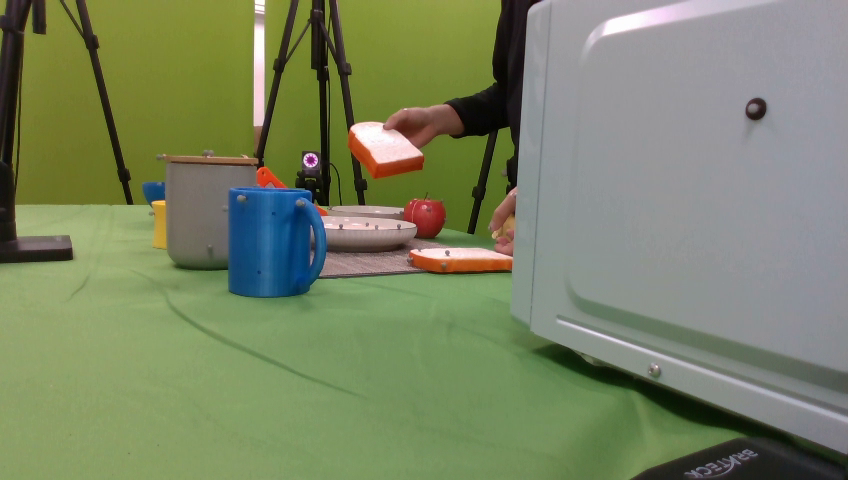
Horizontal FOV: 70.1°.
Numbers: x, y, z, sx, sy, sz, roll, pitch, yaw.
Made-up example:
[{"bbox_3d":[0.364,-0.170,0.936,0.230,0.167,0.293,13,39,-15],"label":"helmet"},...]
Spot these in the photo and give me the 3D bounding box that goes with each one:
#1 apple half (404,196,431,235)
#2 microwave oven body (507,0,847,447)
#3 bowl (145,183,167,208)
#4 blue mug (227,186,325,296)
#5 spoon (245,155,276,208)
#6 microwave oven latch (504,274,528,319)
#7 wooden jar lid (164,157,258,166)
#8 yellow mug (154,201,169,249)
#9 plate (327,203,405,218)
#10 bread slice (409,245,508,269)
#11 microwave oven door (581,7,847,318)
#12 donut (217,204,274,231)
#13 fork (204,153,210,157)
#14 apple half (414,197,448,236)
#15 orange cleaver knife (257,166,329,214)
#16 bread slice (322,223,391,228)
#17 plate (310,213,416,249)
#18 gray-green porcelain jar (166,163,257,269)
[{"bbox_3d":[-0.006,-0.048,1.150,0.081,0.074,0.053,-7,7,-40],"label":"apple half"},{"bbox_3d":[0.331,-0.042,0.425,0.444,0.260,0.324,-2,8,-31],"label":"microwave oven body"},{"bbox_3d":[-0.459,-0.068,1.175,0.151,0.077,0.151,3,7,0],"label":"bowl"},{"bbox_3d":[-0.147,0.000,0.618,0.116,0.106,0.083,7,9,32],"label":"blue mug"},{"bbox_3d":[-0.421,-0.150,1.540,0.042,0.021,0.193,-5,55,-37],"label":"spoon"},{"bbox_3d":[0.100,0.041,0.471,0.079,0.029,0.030,-1,7,-28],"label":"microwave oven latch"},{"bbox_3d":[-0.261,-0.093,0.746,0.108,0.020,0.108,0,9,0],"label":"wooden jar lid"},{"bbox_3d":[-0.337,-0.022,0.899,0.130,0.064,0.100,8,9,34],"label":"yellow mug"},{"bbox_3d":[-0.102,-0.053,1.299,0.209,0.038,0.209,2,8,0],"label":"plate"},{"bbox_3d":[0.048,0.021,0.816,0.132,0.019,0.104,0,7,-24],"label":"bread slice"},{"bbox_3d":[0.295,-0.067,0.569,0.358,0.243,0.039,-3,8,-31],"label":"microwave oven door"},{"bbox_3d":[-0.318,-0.038,1.080,0.099,0.048,0.099,3,7,0],"label":"donut"},{"bbox_3d":[-0.480,-0.136,1.412,0.028,0.018,0.207,0,-34,-1],"label":"fork"},{"bbox_3d":[0.020,-0.044,1.121,0.082,0.081,0.032,-4,5,-39],"label":"apple half"},{"bbox_3d":[-0.295,-0.086,1.333,0.012,0.077,0.212,2,-24,46],"label":"orange cleaver knife"},{"bbox_3d":[-0.116,-0.014,0.974,0.135,0.018,0.106,-5,10,-42],"label":"bread slice"},{"bbox_3d":[-0.117,-0.014,0.967,0.208,0.039,0.207,2,8,0],"label":"plate"},{"bbox_3d":[-0.263,-0.031,0.754,0.106,0.126,0.106,2,7,0],"label":"gray-green porcelain jar"}]
